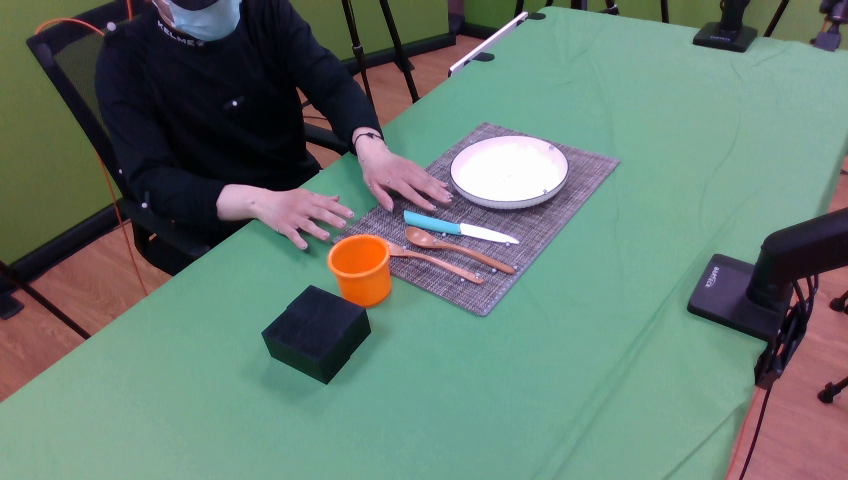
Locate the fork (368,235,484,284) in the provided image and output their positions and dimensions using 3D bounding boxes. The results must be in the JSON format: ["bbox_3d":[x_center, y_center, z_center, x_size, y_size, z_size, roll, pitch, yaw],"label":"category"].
[{"bbox_3d":[0.001,0.030,0.930,0.206,0.019,0.028,18,38,29],"label":"fork"}]

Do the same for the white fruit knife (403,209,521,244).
[{"bbox_3d":[0.057,-0.019,0.981,0.206,0.016,0.027,13,57,20],"label":"white fruit knife"}]

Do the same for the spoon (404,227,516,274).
[{"bbox_3d":[0.053,0.016,0.936,0.192,0.022,0.042,18,31,27],"label":"spoon"}]

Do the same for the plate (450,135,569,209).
[{"bbox_3d":[0.149,-0.117,1.065,0.209,0.038,0.208,-4,41,4],"label":"plate"}]
